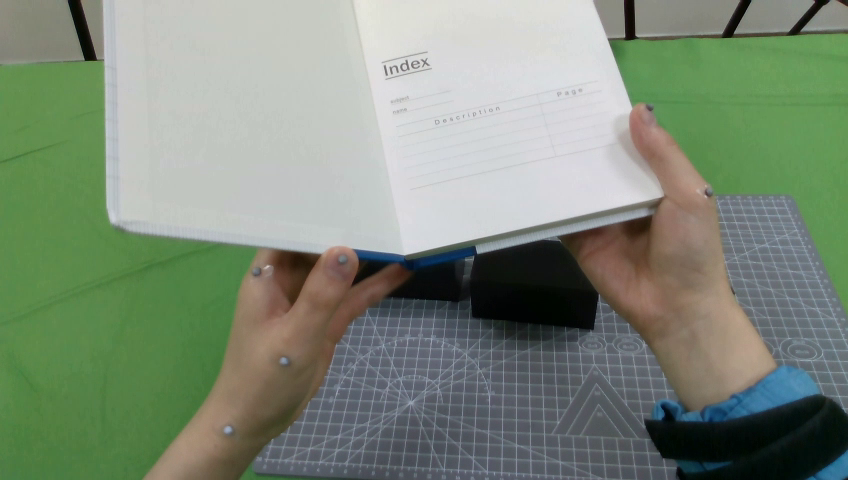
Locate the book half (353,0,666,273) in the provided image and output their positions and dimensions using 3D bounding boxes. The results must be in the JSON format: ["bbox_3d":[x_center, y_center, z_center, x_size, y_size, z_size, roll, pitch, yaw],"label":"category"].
[{"bbox_3d":[0.039,-0.096,0.357,0.148,0.016,0.209,-13,73,3],"label":"book half"}]

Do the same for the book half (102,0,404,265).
[{"bbox_3d":[-0.080,-0.091,0.295,0.007,0.144,0.208,-26,67,39],"label":"book half"}]
